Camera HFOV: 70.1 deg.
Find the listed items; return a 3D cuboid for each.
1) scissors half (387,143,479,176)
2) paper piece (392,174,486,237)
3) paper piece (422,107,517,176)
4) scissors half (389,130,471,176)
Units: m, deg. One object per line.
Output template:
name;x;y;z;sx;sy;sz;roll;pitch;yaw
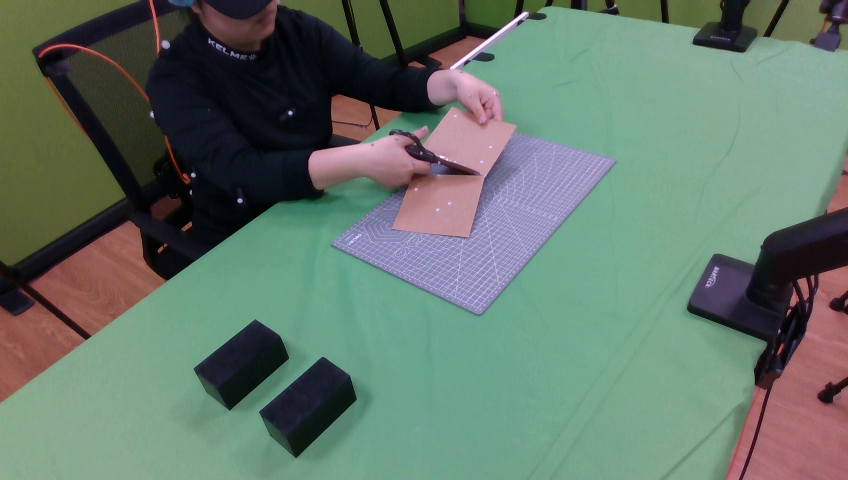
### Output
scissors half;0.017;-0.136;1.068;0.174;0.040;0.013;17;58;14
paper piece;0.026;-0.062;1.026;0.135;0.004;0.135;5;54;18
paper piece;0.080;-0.182;1.096;0.135;0.009;0.138;26;56;14
scissors half;0.019;-0.146;1.050;0.175;0.040;0.013;27;64;-5
